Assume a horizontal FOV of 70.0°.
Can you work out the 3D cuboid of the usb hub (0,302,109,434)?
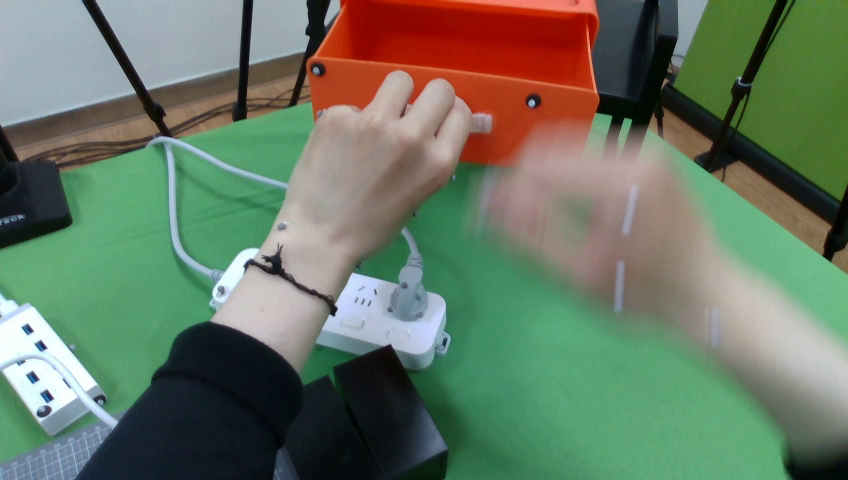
[{"bbox_3d":[-0.323,0.105,0.510,0.124,0.025,0.049,34,54,27],"label":"usb hub"}]

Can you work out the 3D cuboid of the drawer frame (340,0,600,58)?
[{"bbox_3d":[0.045,-0.225,0.556,0.201,0.083,0.211,5,46,3],"label":"drawer frame"}]

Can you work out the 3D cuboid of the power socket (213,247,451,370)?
[{"bbox_3d":[-0.085,0.061,0.559,0.226,0.033,0.071,13,46,11],"label":"power socket"}]

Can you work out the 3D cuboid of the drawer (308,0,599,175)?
[{"bbox_3d":[0.032,-0.153,0.488,0.194,0.074,0.210,7,46,5],"label":"drawer"}]

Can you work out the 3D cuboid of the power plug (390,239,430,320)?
[{"bbox_3d":[-0.004,0.042,0.549,0.035,0.053,0.072,22,51,19],"label":"power plug"}]
